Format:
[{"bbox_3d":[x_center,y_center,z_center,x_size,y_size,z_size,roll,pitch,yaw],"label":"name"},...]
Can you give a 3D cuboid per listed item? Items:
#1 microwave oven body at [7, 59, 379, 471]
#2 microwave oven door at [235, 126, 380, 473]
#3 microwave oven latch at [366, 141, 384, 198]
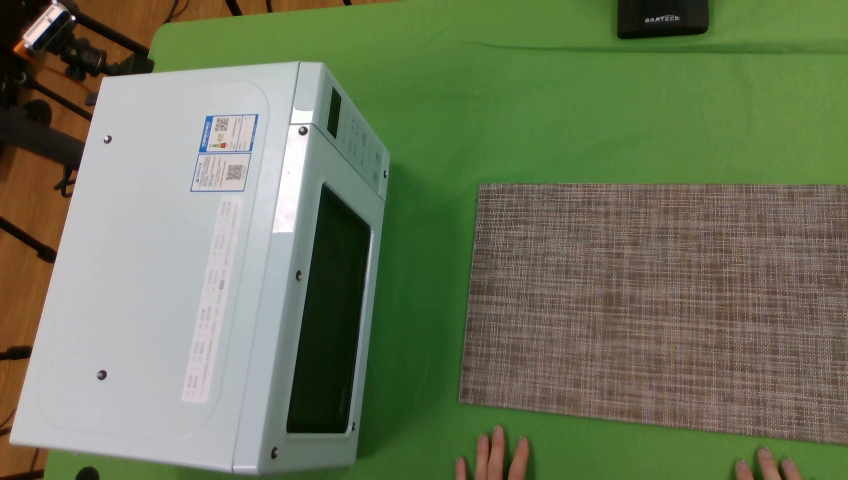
[{"bbox_3d":[-0.257,0.040,0.765,0.325,0.262,0.439,0,74,15],"label":"microwave oven body"},{"bbox_3d":[-0.122,0.079,0.710,0.039,0.246,0.354,0,73,16],"label":"microwave oven door"},{"bbox_3d":[-0.074,-0.101,0.862,0.030,0.030,0.079,1,75,15],"label":"microwave oven latch"}]
